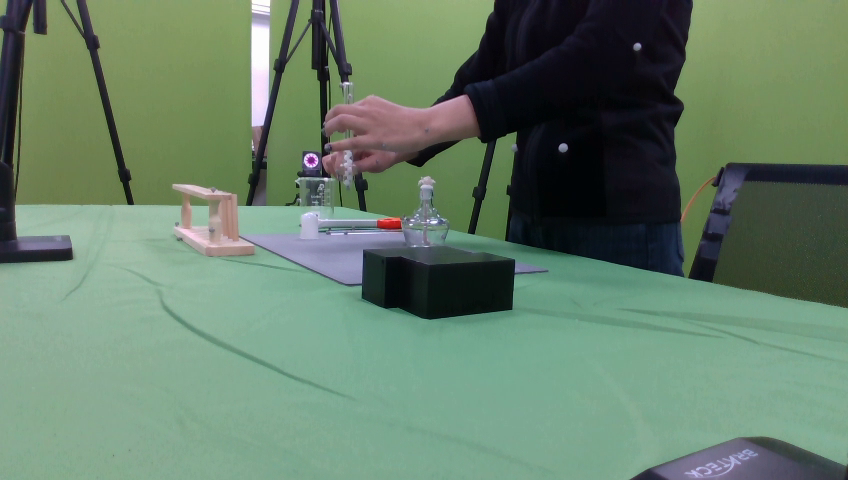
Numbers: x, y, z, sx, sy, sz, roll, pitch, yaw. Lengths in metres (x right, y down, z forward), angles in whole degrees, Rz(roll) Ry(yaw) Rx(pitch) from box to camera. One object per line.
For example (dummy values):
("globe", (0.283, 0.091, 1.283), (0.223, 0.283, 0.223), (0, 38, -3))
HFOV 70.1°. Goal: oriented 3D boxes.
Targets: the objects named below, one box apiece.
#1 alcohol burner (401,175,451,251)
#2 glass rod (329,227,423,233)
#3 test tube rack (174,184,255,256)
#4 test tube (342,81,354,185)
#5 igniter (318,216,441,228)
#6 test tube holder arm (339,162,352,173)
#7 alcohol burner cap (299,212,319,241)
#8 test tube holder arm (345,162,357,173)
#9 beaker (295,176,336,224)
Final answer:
("alcohol burner", (0.003, -0.042, 0.947), (0.078, 0.119, 0.078), (1, 9, 0))
("glass rod", (-0.087, -0.019, 1.148), (0.201, 0.008, 0.008), (-3, 8, -32))
("test tube rack", (-0.327, -0.036, 0.928), (0.067, 0.085, 0.241), (-2, 9, -32))
("test tube", (-0.111, -0.155, 0.885), (0.017, 0.150, 0.017), (3, 16, 0))
("igniter", (-0.090, -0.035, 1.222), (0.278, 0.025, 0.057), (-2, -2, -32))
("test tube holder arm", (-0.124, -0.117, 0.963), (0.013, 0.015, 0.178), (2, 8, -5))
("alcohol burner cap", (-0.195, -0.024, 1.025), (0.034, 0.048, 0.034), (3, 7, 0))
("test tube holder arm", (-0.112, -0.110, 0.920), (0.010, 0.015, 0.087), (0, 8, -15))
("beaker", (-0.224, -0.080, 1.247), (0.084, 0.100, 0.073), (-1, 8, -18))
